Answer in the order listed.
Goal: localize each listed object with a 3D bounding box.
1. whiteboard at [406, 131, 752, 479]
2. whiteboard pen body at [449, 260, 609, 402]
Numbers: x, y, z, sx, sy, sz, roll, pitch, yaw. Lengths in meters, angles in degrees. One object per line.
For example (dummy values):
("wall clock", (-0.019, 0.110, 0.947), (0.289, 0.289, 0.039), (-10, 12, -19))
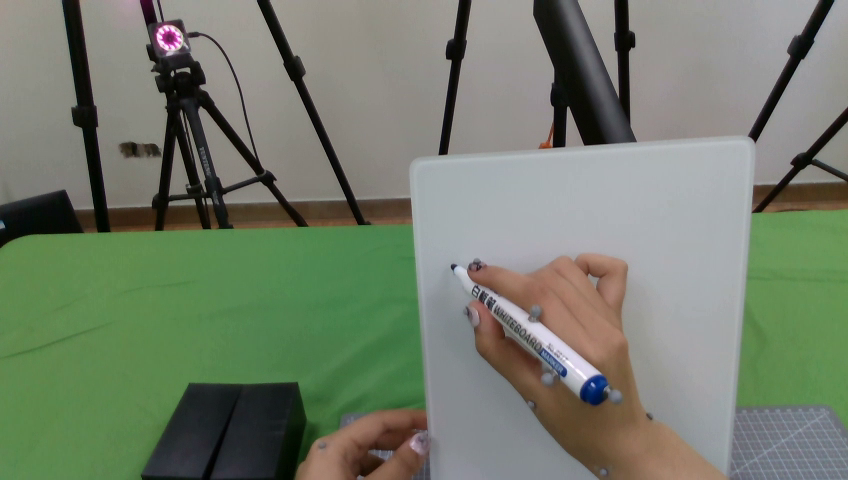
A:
("whiteboard", (0.106, 0.070, 0.477), (0.217, 0.306, 0.143), (-3, 15, 2))
("whiteboard pen body", (0.049, 0.042, 0.335), (0.017, 0.017, 0.139), (-18, 32, -22))
